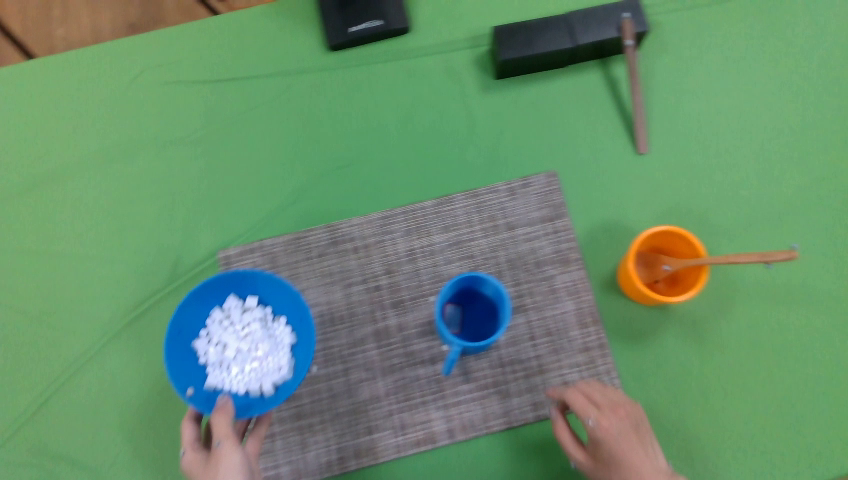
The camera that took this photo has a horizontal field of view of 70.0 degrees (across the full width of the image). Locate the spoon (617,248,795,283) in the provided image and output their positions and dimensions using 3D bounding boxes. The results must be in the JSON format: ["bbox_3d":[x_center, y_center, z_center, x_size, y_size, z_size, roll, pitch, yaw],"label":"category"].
[{"bbox_3d":[0.315,0.025,0.695,0.022,0.193,0.041,20,70,-40],"label":"spoon"}]

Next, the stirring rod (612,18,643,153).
[{"bbox_3d":[0.267,-0.201,0.794,0.014,0.006,0.176,-12,95,-5],"label":"stirring rod"}]

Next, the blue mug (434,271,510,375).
[{"bbox_3d":[0.046,0.101,0.697,0.082,0.106,0.116,23,78,7],"label":"blue mug"}]

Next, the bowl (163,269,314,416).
[{"bbox_3d":[-0.190,0.112,0.651,0.151,0.077,0.150,1,75,-4],"label":"bowl"}]
